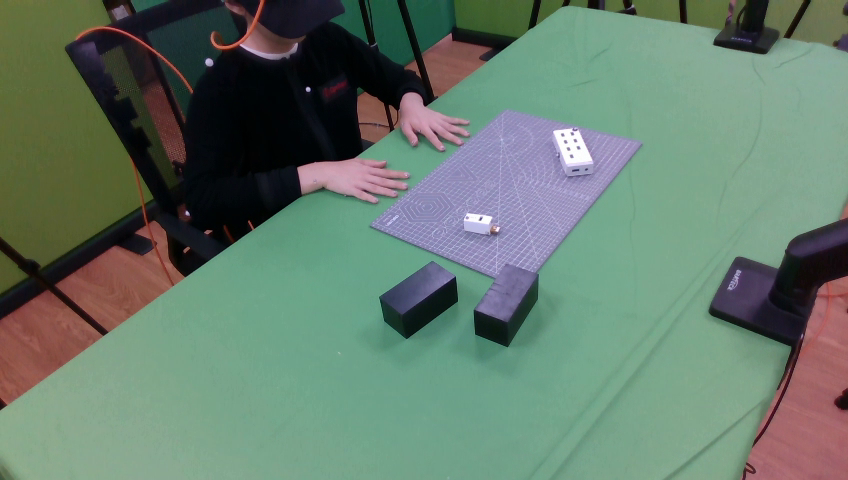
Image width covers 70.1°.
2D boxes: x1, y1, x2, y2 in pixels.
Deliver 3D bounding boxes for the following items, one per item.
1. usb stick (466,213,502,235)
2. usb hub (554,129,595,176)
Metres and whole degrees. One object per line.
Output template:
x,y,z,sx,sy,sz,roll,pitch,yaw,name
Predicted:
0.098,-0.024,0.983,0.059,0.027,0.021,13,41,18,usb stick
0.278,-0.163,1.119,0.049,0.025,0.124,-6,41,2,usb hub
